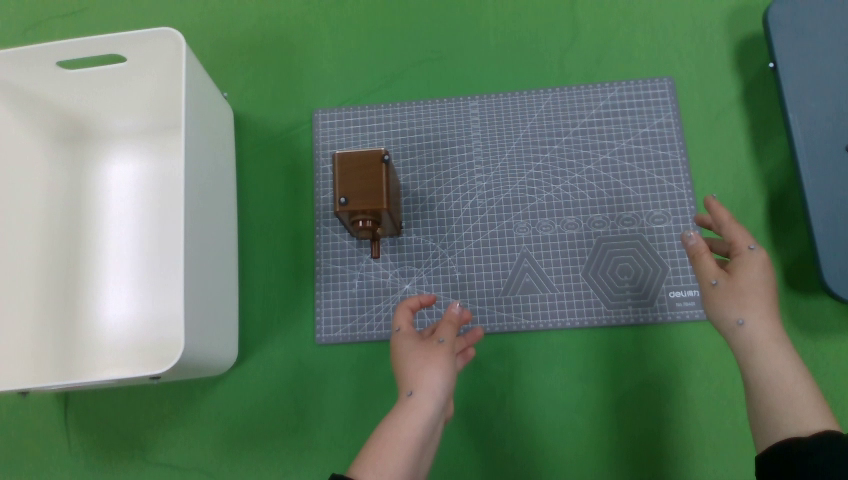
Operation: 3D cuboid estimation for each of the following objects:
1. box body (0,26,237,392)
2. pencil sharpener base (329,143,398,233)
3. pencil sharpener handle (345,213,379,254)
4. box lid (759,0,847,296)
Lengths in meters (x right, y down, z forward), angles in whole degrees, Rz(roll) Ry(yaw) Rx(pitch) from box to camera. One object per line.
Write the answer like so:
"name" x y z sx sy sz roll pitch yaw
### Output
"box body" -0.353 -0.022 0.670 0.254 0.161 0.362 -7 75 2
"pencil sharpener base" -0.066 -0.052 0.679 0.061 0.107 0.076 -4 75 3
"pencil sharpener handle" -0.062 -0.006 0.655 0.036 0.068 0.030 -6 75 11
"box lid" 0.529 -0.128 0.659 0.263 0.015 0.369 -4 76 3
